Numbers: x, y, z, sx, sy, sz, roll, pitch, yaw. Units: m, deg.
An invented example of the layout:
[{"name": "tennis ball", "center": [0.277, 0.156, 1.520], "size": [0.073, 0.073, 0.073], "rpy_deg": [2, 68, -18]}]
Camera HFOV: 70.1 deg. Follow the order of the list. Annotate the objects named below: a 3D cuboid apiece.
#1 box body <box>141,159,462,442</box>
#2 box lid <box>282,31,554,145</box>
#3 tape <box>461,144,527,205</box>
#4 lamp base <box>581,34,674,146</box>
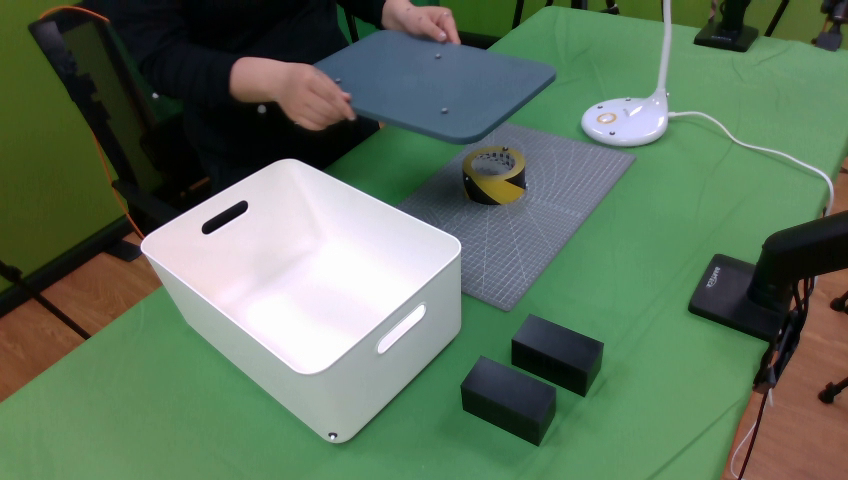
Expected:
[{"name": "box body", "center": [-0.153, 0.063, 0.809], "size": [0.361, 0.161, 0.255], "rpy_deg": [27, 51, 33]}, {"name": "box lid", "center": [-0.011, -0.249, 0.939], "size": [0.368, 0.015, 0.264], "rpy_deg": [23, 47, 30]}, {"name": "tape", "center": [0.124, -0.116, 1.058], "size": [0.117, 0.053, 0.116], "rpy_deg": [-4, 42, 4]}, {"name": "lamp base", "center": [0.392, -0.291, 1.129], "size": [0.180, 0.181, 0.159], "rpy_deg": [-11, 41, -8]}]
